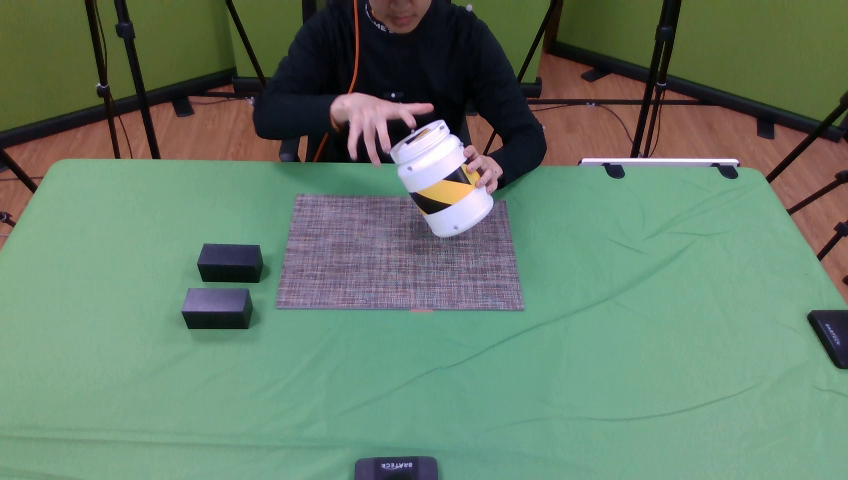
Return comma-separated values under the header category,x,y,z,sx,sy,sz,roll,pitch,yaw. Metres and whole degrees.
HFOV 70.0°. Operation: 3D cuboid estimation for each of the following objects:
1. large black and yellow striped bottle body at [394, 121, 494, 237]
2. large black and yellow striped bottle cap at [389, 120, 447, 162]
category,x,y,z,sx,sy,sz,roll,pitch,yaw
large black and yellow striped bottle body,0.032,-0.113,1.117,0.131,0.184,0.130,-30,18,11
large black and yellow striped bottle cap,-0.012,-0.179,1.093,0.115,0.019,0.114,-29,19,11
